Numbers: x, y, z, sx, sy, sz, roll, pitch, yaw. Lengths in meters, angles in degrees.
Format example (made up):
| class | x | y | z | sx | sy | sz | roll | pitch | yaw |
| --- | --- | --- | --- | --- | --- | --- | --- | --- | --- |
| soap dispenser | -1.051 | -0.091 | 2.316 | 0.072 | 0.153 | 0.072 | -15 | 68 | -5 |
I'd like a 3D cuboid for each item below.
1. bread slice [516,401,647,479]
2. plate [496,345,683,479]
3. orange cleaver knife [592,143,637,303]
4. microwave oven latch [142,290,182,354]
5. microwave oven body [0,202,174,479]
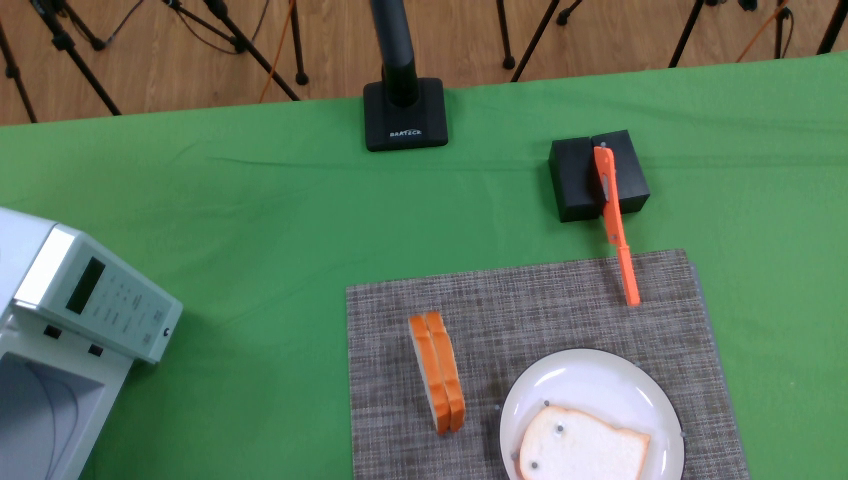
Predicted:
| class | x | y | z | sx | sy | sz | roll | pitch | yaw |
| --- | --- | --- | --- | --- | --- | --- | --- | --- | --- |
| bread slice | 0.173 | 0.244 | 0.685 | 0.134 | 0.018 | 0.106 | 16 | 66 | 12 |
| plate | 0.186 | 0.227 | 0.695 | 0.207 | 0.039 | 0.206 | -1 | 68 | 2 |
| orange cleaver knife | 0.241 | -0.025 | 0.775 | 0.012 | 0.077 | 0.211 | -10 | 88 | 1 |
| microwave oven latch | -0.331 | 0.100 | 0.754 | 0.030 | 0.030 | 0.079 | 16 | 70 | 8 |
| microwave oven body | -0.529 | 0.183 | 0.625 | 0.325 | 0.262 | 0.439 | 15 | 70 | 8 |
